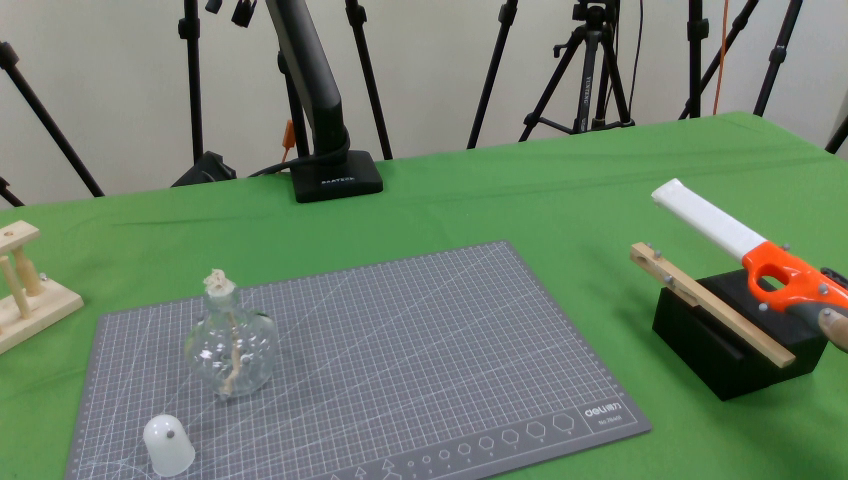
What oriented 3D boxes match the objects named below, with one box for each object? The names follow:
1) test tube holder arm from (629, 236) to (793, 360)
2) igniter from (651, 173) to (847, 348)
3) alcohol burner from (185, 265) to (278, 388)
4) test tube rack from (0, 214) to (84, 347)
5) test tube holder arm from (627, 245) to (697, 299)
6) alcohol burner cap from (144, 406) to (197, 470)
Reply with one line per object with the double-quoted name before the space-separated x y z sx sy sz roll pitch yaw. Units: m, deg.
"test tube holder arm" 0.246 0.045 0.539 0.015 0.013 0.176 -19 37 -17
"igniter" 0.289 0.013 0.517 0.057 0.025 0.273 -32 37 1
"alcohol burner" -0.165 0.069 0.514 0.078 0.120 0.077 1 35 0
"test tube rack" -0.448 0.074 0.542 0.066 0.086 0.242 20 39 27
"test tube holder arm" 0.228 0.028 0.576 0.015 0.010 0.087 -18 36 -17
"alcohol burner cap" -0.195 0.147 0.461 0.034 0.048 0.033 1 34 0
